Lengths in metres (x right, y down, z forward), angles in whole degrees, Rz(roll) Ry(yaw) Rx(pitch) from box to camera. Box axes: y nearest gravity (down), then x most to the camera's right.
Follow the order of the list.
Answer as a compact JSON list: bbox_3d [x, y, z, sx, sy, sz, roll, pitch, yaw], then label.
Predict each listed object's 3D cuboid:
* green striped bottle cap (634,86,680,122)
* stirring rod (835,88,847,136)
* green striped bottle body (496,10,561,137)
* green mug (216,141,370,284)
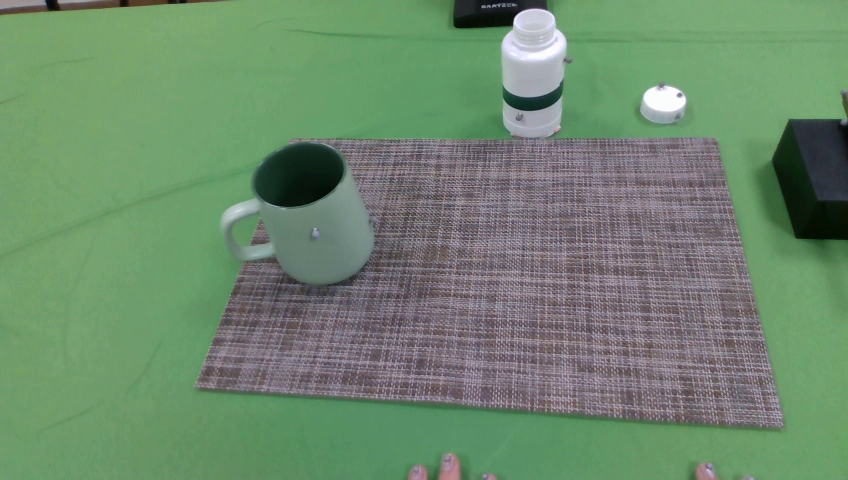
[{"bbox_3d":[0.247,-0.144,0.641,0.044,0.020,0.044,-3,48,3],"label":"green striped bottle cap"},{"bbox_3d":[0.363,-0.067,0.500,0.006,0.014,0.174,1,52,15],"label":"stirring rod"},{"bbox_3d":[0.105,-0.169,0.614,0.063,0.120,0.062,-4,51,5],"label":"green striped bottle body"},{"bbox_3d":[-0.115,-0.016,0.527,0.125,0.106,0.091,-20,52,-8],"label":"green mug"}]
